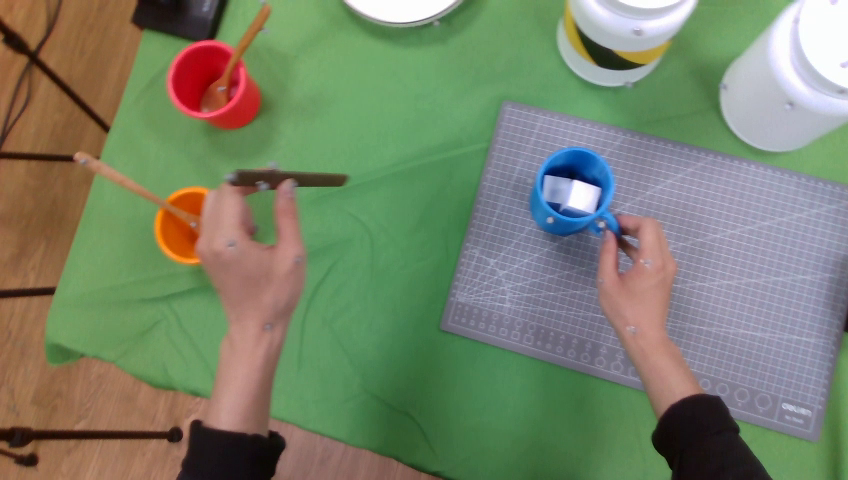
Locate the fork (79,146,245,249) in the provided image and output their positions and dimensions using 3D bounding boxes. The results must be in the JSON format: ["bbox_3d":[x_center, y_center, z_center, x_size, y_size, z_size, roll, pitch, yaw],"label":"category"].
[{"bbox_3d":[-0.302,-0.047,0.711,0.209,0.018,0.028,36,88,-36],"label":"fork"}]

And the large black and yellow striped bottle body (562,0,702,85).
[{"bbox_3d":[0.229,-0.265,0.671,0.130,0.184,0.130,-1,83,5],"label":"large black and yellow striped bottle body"}]

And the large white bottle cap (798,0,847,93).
[{"bbox_3d":[0.410,-0.193,0.562,0.115,0.018,0.114,0,84,4],"label":"large white bottle cap"}]

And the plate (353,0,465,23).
[{"bbox_3d":[-0.015,-0.374,0.777,0.207,0.039,0.207,-1,84,5],"label":"plate"}]

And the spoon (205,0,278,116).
[{"bbox_3d":[-0.221,-0.214,0.724,0.194,0.022,0.041,-38,75,44],"label":"spoon"}]

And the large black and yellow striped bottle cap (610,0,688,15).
[{"bbox_3d":[0.222,-0.277,0.589,0.115,0.019,0.114,0,85,4],"label":"large black and yellow striped bottle cap"}]

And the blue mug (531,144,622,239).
[{"bbox_3d":[0.179,-0.044,0.689,0.082,0.106,0.116,-45,82,-1],"label":"blue mug"}]

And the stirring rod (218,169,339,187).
[{"bbox_3d":[-0.116,-0.052,0.515,0.006,0.176,0.014,35,105,13],"label":"stirring rod"}]

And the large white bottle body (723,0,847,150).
[{"bbox_3d":[0.418,-0.182,0.645,0.130,0.185,0.130,-1,84,5],"label":"large white bottle body"}]
